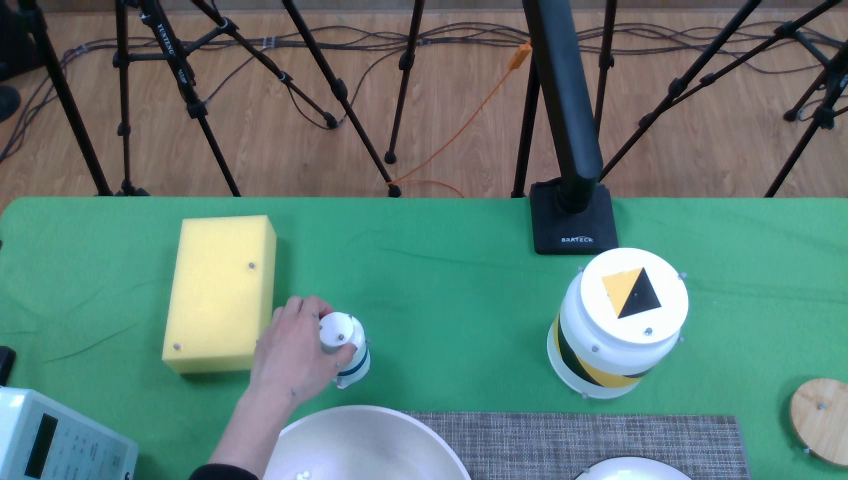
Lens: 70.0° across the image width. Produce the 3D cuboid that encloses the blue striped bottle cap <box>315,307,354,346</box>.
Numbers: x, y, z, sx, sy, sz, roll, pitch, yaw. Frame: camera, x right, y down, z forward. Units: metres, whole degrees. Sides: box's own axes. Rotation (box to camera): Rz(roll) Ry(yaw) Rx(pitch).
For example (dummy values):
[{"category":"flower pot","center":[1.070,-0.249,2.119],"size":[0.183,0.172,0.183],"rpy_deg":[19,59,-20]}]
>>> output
[{"category":"blue striped bottle cap","center":[-0.105,0.101,0.711],"size":[0.044,0.021,0.044],"rpy_deg":[1,65,-1]}]

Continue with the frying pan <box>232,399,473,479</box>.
[{"category":"frying pan","center":[-0.080,0.410,0.607],"size":[0.307,0.104,0.483],"rpy_deg":[-1,53,3]}]

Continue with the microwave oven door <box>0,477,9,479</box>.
[{"category":"microwave oven door","center":[-0.368,0.403,0.516],"size":[0.039,0.246,0.352],"rpy_deg":[0,61,1]}]

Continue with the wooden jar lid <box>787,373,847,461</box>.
[{"category":"wooden jar lid","center":[0.509,0.221,0.757],"size":[0.108,0.021,0.107],"rpy_deg":[0,63,1]}]

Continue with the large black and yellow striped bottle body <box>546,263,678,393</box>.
[{"category":"large black and yellow striped bottle body","center":[0.226,0.099,0.733],"size":[0.131,0.185,0.129],"rpy_deg":[0,61,1]}]

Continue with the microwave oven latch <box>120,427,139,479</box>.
[{"category":"microwave oven latch","center":[-0.359,0.262,0.710],"size":[0.030,0.030,0.078],"rpy_deg":[2,62,1]}]

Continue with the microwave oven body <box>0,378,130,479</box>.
[{"category":"microwave oven body","center":[-0.513,0.366,0.543],"size":[0.326,0.262,0.438],"rpy_deg":[1,62,1]}]

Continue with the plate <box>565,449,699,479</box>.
[{"category":"plate","center":[0.239,0.343,0.678],"size":[0.209,0.038,0.207],"rpy_deg":[0,61,1]}]

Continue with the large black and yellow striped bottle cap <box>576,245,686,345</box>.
[{"category":"large black and yellow striped bottle cap","center":[0.224,0.058,0.658],"size":[0.115,0.019,0.114],"rpy_deg":[0,60,1]}]

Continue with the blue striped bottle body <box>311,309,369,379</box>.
[{"category":"blue striped bottle body","center":[-0.104,0.127,0.755],"size":[0.063,0.122,0.062],"rpy_deg":[0,61,0]}]

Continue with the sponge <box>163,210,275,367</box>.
[{"category":"sponge","center":[-0.273,0.063,0.826],"size":[0.118,0.061,0.205],"rpy_deg":[-4,61,-1]}]
